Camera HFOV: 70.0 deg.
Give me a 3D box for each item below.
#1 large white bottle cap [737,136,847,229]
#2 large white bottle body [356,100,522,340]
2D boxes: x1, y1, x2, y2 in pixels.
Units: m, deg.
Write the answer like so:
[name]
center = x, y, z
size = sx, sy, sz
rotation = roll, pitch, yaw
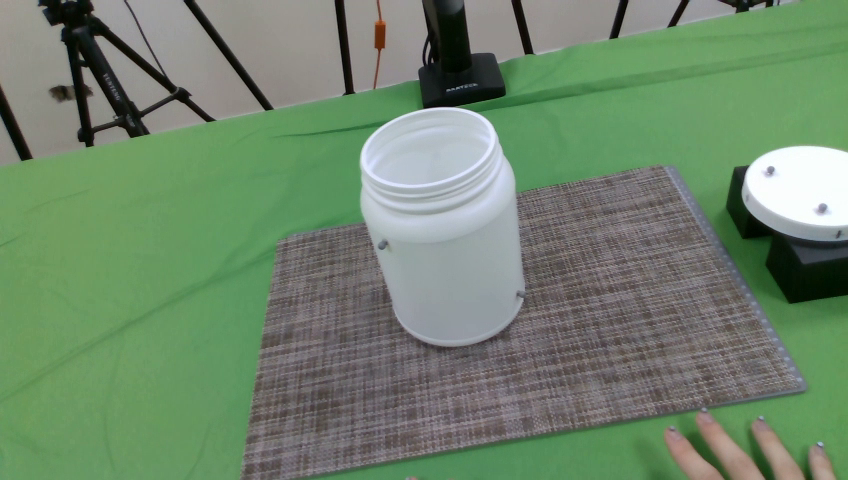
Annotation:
[large white bottle cap]
center = 0.343, -0.053, 0.539
size = 0.115, 0.018, 0.113
rotation = -7, 43, 7
[large white bottle body]
center = 0.015, -0.015, 0.531
size = 0.130, 0.186, 0.129
rotation = -7, 44, 7
